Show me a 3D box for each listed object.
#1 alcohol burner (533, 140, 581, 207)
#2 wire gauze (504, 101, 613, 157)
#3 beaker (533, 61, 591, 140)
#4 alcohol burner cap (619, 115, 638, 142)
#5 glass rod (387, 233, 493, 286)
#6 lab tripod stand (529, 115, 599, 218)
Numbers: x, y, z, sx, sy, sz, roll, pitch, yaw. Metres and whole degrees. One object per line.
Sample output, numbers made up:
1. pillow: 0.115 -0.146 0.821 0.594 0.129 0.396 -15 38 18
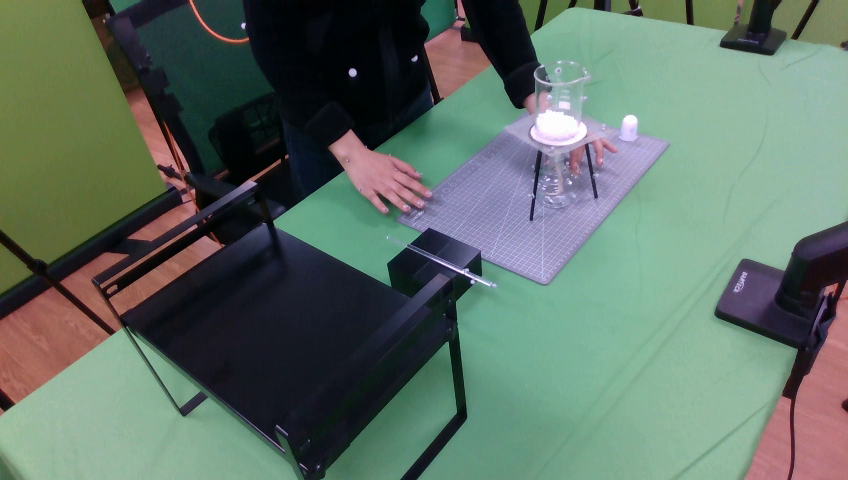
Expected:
1. alcohol burner: 0.219 -0.113 0.999 0.078 0.119 0.077 -5 42 5
2. wire gauze: 0.211 -0.175 0.956 0.125 0.011 0.120 -26 43 -17
3. beaker: 0.208 -0.210 0.922 0.083 0.101 0.074 5 44 14
4. alcohol burner cap: 0.389 -0.214 1.145 0.034 0.048 0.033 -3 40 3
5. glass rod: 0.018 0.027 0.878 0.198 0.008 0.008 25 50 33
6. lab tripod stand: 0.218 -0.123 0.995 0.148 0.132 0.147 -3 43 4
